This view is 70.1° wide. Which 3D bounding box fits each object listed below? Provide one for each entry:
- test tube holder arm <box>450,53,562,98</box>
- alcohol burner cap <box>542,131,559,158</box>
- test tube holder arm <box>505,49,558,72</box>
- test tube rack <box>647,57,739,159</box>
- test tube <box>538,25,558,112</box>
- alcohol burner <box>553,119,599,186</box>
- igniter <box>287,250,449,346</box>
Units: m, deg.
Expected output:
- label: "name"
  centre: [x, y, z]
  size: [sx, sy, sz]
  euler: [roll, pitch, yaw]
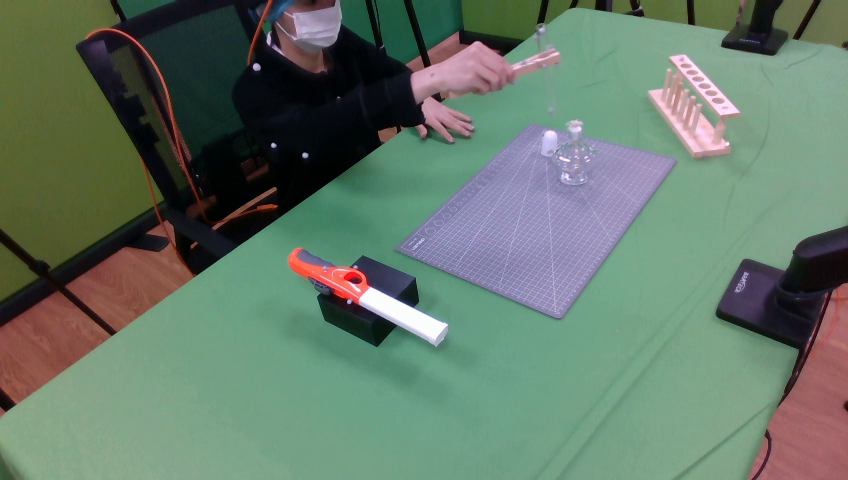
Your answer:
- label: "test tube holder arm"
  centre: [0.126, -0.253, 0.931]
  size: [0.178, 0.015, 0.013]
  euler: [-18, 44, 1]
- label: "alcohol burner cap"
  centre: [0.237, -0.180, 1.134]
  size: [0.034, 0.048, 0.033]
  euler: [-5, 41, 5]
- label: "test tube holder arm"
  centre: [0.167, -0.273, 0.936]
  size: [0.088, 0.015, 0.010]
  euler: [-24, 45, -5]
- label: "test tube rack"
  centre: [0.504, -0.257, 1.153]
  size: [0.067, 0.085, 0.241]
  euler: [-8, 40, 1]
- label: "test tube"
  centre: [0.195, -0.265, 0.947]
  size: [0.017, 0.151, 0.017]
  euler: [-10, 44, 11]
- label: "alcohol burner"
  centre: [0.261, -0.153, 1.042]
  size: [0.078, 0.119, 0.077]
  euler: [-6, 40, 6]
- label: "igniter"
  centre: [-0.087, 0.073, 0.825]
  size: [0.274, 0.025, 0.057]
  euler: [23, 48, 27]
